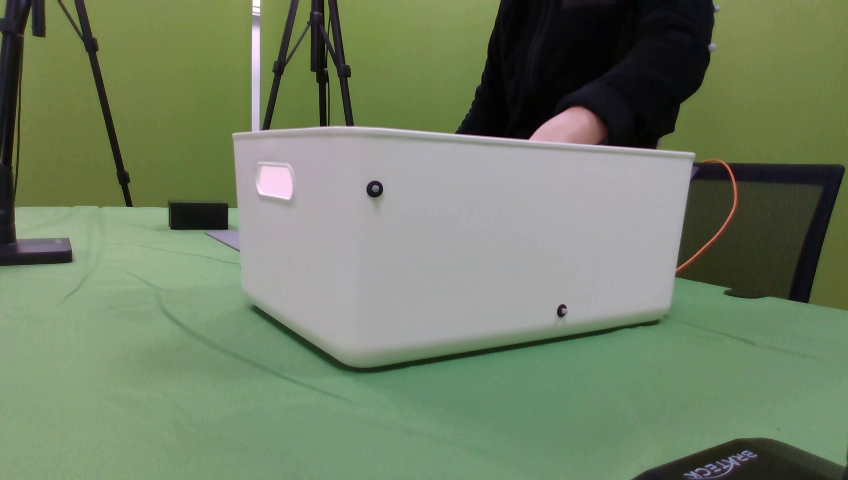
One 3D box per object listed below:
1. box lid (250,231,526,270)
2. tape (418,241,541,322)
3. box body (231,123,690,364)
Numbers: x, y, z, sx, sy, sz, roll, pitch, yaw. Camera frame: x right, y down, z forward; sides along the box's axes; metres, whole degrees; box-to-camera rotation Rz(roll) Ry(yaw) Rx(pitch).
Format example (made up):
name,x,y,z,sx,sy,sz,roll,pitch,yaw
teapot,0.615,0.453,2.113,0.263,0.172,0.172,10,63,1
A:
name,x,y,z,sx,sy,sz,roll,pitch,yaw
box lid,-0.057,0.012,0.933,0.373,0.015,0.262,-2,8,-32
tape,0.052,0.035,0.571,0.117,0.052,0.117,1,10,0
box body,0.031,-0.013,0.563,0.366,0.160,0.253,-3,8,-33
